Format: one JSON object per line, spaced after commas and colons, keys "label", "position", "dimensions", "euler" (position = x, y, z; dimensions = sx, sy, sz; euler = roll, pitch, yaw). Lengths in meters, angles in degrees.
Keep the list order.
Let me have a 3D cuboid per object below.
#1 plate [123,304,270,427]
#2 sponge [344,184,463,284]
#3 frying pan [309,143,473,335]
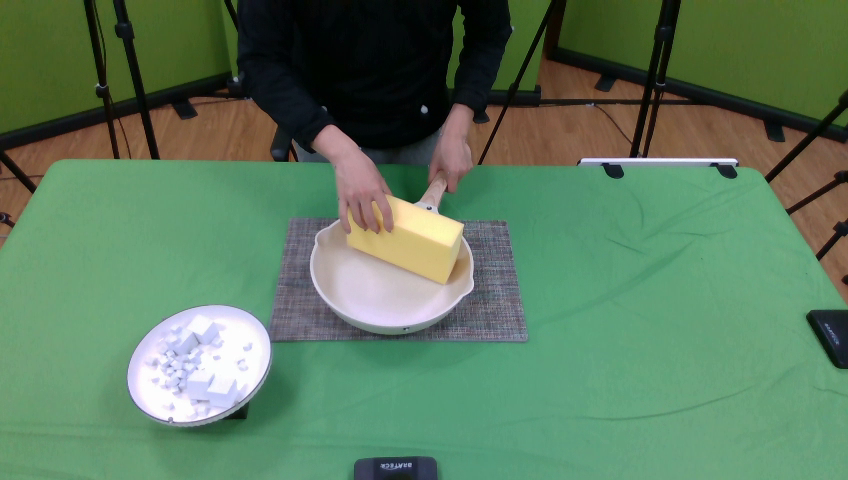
{"label": "plate", "position": [-0.336, 0.189, 0.913], "dimensions": [0.208, 0.039, 0.206], "euler": [1, 46, -1]}
{"label": "sponge", "position": [-0.041, -0.009, 1.107], "dimensions": [0.206, 0.119, 0.060], "euler": [21, 52, 9]}
{"label": "frying pan", "position": [-0.018, -0.022, 1.155], "dimensions": [0.306, 0.103, 0.486], "euler": [20, 57, 13]}
